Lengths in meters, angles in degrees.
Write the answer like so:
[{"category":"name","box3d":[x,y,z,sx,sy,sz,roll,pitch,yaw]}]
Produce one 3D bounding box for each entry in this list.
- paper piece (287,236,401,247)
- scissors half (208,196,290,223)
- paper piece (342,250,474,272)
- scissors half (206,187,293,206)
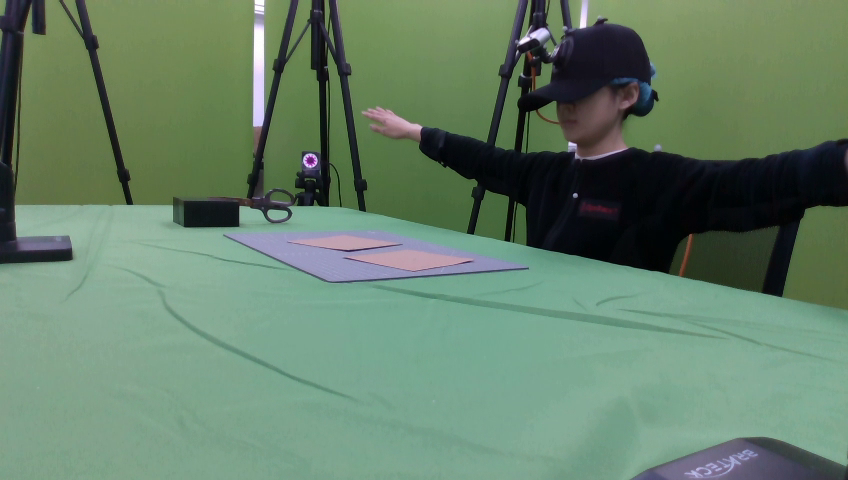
[{"category":"paper piece","box3d":[-0.130,0.004,0.986,0.137,0.008,0.137,7,4,35]},{"category":"scissors half","box3d":[-0.356,-0.067,1.233,0.176,0.040,0.013,14,8,-35]},{"category":"paper piece","box3d":[-0.023,0.027,0.848,0.135,0.004,0.136,8,9,39]},{"category":"scissors half","box3d":[-0.352,-0.086,1.228,0.176,0.040,0.012,-6,24,-31]}]
